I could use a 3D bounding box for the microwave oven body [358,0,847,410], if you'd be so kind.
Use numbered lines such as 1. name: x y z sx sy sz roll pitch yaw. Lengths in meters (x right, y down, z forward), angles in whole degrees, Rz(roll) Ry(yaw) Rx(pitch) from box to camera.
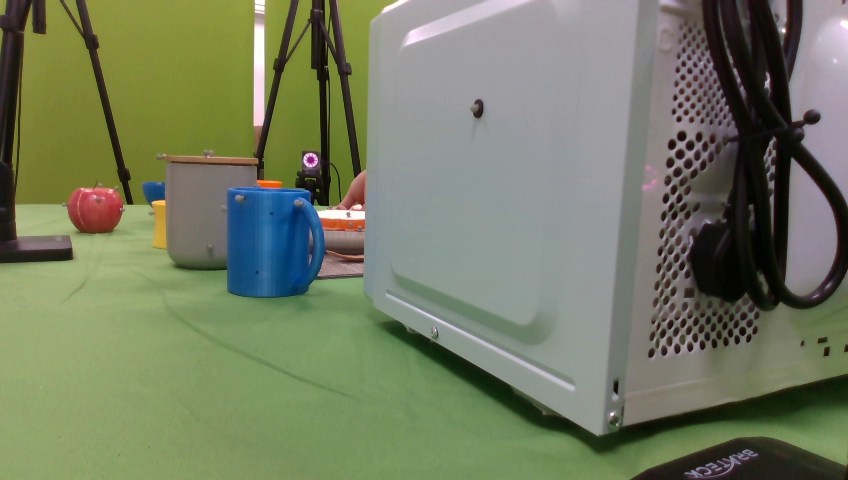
1. microwave oven body: 0.210 -0.051 0.471 0.444 0.260 0.324 -1 7 -28

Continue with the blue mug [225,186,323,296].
1. blue mug: -0.148 0.000 0.618 0.116 0.106 0.083 7 9 33

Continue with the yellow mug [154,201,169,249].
1. yellow mug: -0.337 -0.022 0.899 0.130 0.064 0.100 8 10 34

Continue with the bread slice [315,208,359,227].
1. bread slice: -0.127 -0.035 0.933 0.134 0.018 0.107 4 10 28

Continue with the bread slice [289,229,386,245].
1. bread slice: -0.125 -0.005 0.937 0.131 0.019 0.105 1 5 31

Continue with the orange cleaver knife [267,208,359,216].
1. orange cleaver knife: -0.259 -0.064 1.423 0.212 0.012 0.077 -4 3 -30

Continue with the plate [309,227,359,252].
1. plate: -0.130 -0.012 0.945 0.208 0.039 0.207 2 7 0

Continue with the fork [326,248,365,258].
1. fork: -0.032 0.015 0.835 0.208 0.018 0.028 -3 2 -24

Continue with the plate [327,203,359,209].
1. plate: -0.102 -0.053 1.299 0.209 0.038 0.209 2 8 0

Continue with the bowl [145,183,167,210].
1. bowl: -0.459 -0.068 1.175 0.151 0.077 0.151 3 7 0

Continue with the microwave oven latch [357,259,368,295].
1. microwave oven latch: -0.019 0.031 0.529 0.079 0.029 0.030 -1 7 -26

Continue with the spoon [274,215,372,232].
1. spoon: -0.181 -0.035 1.115 0.195 0.021 0.041 -12 -6 -34

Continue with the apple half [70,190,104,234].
1. apple half: -0.552 -0.047 1.010 0.053 0.074 0.081 -1 9 26

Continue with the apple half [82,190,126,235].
1. apple half: -0.516 -0.046 0.994 0.032 0.081 0.081 0 6 26

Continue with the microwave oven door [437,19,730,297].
1. microwave oven door: 0.181 -0.076 0.618 0.358 0.243 0.039 -2 8 -28

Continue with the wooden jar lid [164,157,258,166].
1. wooden jar lid: -0.261 -0.093 0.746 0.108 0.020 0.108 0 9 0

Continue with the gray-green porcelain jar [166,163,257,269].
1. gray-green porcelain jar: -0.263 -0.031 0.754 0.106 0.126 0.106 2 7 0

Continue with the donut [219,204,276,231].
1. donut: -0.316 -0.039 1.083 0.099 0.048 0.099 3 7 0
